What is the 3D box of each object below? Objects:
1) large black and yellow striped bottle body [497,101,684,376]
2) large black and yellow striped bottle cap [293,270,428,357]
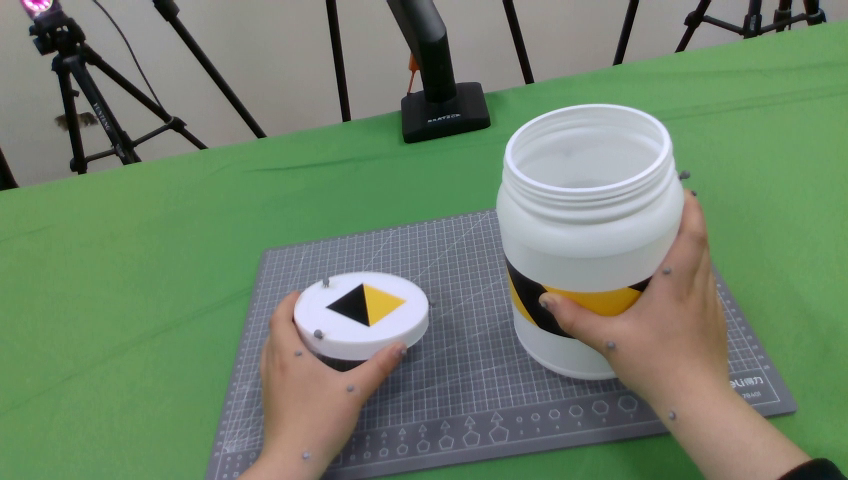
[{"bbox_3d":[0.126,0.001,0.465,0.130,0.186,0.129,-9,40,8],"label":"large black and yellow striped bottle body"},{"bbox_3d":[-0.053,0.059,0.518,0.115,0.019,0.114,2,26,-1],"label":"large black and yellow striped bottle cap"}]
